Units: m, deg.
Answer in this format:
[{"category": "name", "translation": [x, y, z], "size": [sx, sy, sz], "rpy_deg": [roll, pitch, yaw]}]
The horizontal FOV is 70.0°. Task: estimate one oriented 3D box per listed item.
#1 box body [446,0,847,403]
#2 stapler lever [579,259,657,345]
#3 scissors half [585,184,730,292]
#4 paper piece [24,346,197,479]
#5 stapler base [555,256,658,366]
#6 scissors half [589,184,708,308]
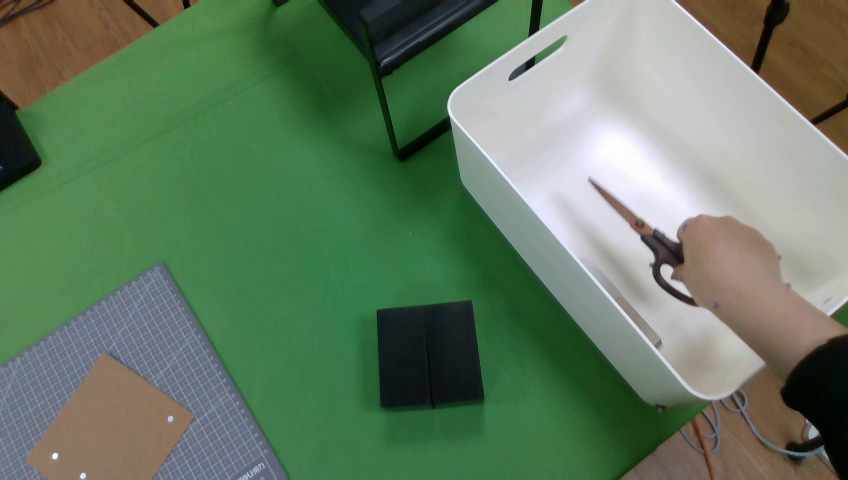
[{"category": "box body", "translation": [0.225, -0.045, 0.619], "size": [0.254, 0.161, 0.361], "rpy_deg": [-35, 71, -8]}, {"category": "stapler lever", "translation": [0.192, 0.069, 0.622], "size": [0.027, 0.040, 0.117], "rpy_deg": [-39, 79, 0]}, {"category": "scissors half", "translation": [0.233, -0.008, 0.616], "size": [0.040, 0.013, 0.173], "rpy_deg": [-34, 61, -29]}, {"category": "paper piece", "translation": [-0.336, 0.206, 0.647], "size": [0.137, 0.009, 0.135], "rpy_deg": [30, 79, 12]}, {"category": "stapler base", "translation": [0.194, 0.073, 0.647], "size": [0.041, 0.024, 0.130], "rpy_deg": [-39, 79, 0]}, {"category": "scissors half", "translation": [0.216, 0.000, 0.609], "size": [0.040, 0.013, 0.173], "rpy_deg": [-20, 55, -14]}]
